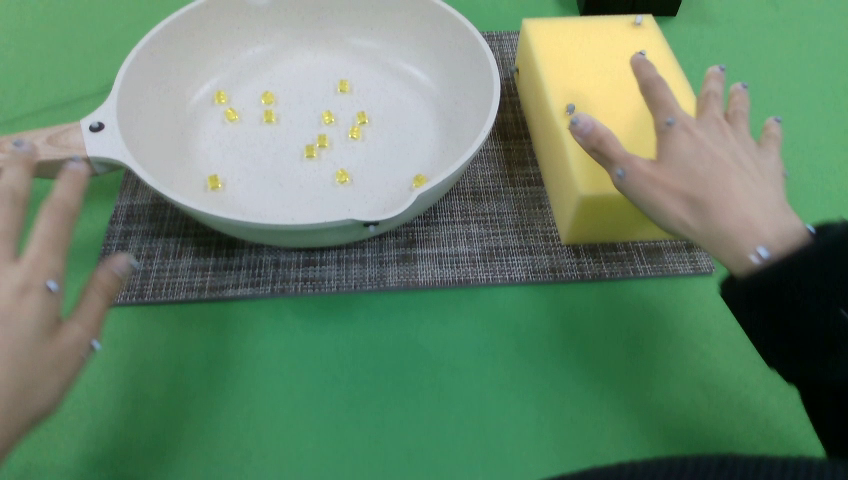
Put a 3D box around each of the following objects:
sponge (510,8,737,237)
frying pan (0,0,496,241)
[{"bbox_3d":[0.149,-0.104,0.497,0.118,0.061,0.204,-4,54,-5],"label":"sponge"},{"bbox_3d":[-0.184,-0.088,0.448,0.489,0.103,0.303,-15,55,-22],"label":"frying pan"}]
